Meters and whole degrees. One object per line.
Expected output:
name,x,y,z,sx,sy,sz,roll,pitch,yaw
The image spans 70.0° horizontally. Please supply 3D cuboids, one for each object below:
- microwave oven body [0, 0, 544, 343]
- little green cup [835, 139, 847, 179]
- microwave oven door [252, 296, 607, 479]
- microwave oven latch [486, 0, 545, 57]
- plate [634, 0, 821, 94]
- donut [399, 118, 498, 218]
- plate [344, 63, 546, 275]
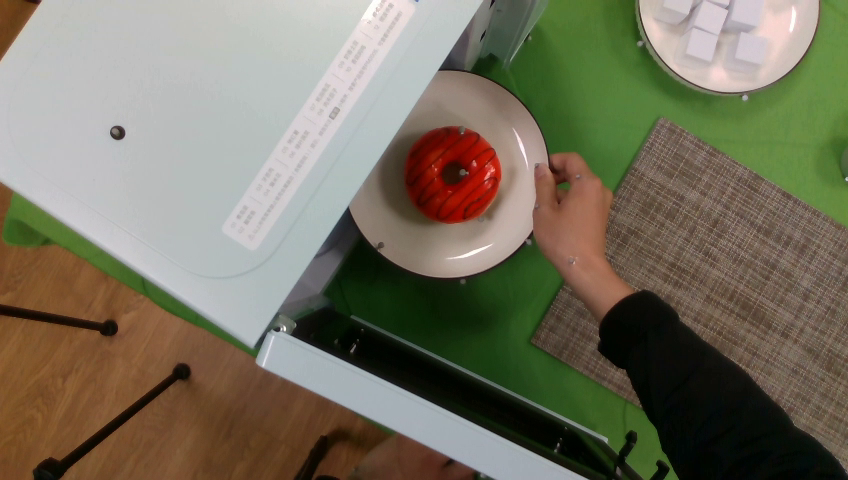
microwave oven body,-0.119,-0.178,0.562,0.326,0.260,0.441,34,89,-1
little green cup,0.508,-0.095,0.692,0.061,0.038,0.061,0,88,-1
microwave oven door,0.037,0.152,0.558,0.356,0.244,0.039,26,88,-1
microwave oven latch,0.101,-0.242,0.665,0.030,0.029,0.079,38,89,-1
plate,0.339,-0.267,0.690,0.208,0.039,0.207,0,89,-2
donut,0.023,-0.071,0.600,0.099,0.048,0.099,0,93,5
plate,0.016,-0.070,0.611,0.209,0.038,0.209,0,93,-1
